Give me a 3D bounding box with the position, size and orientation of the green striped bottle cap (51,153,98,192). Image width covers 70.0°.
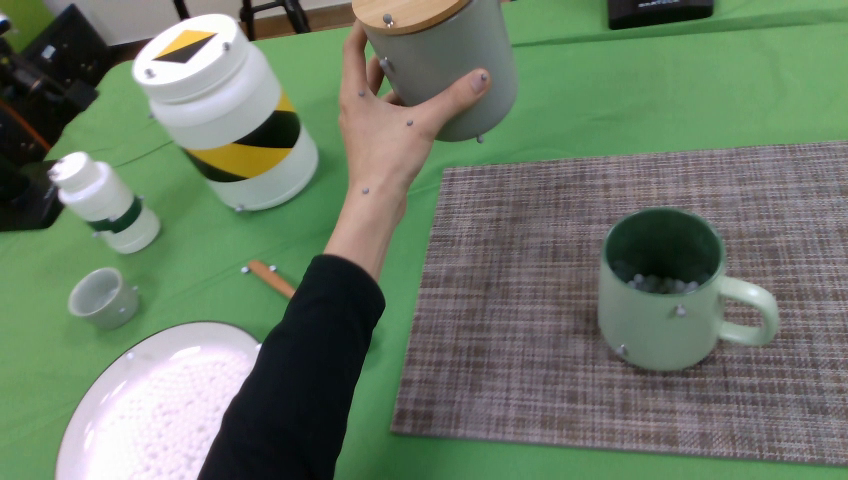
[{"bbox_3d":[-0.377,-0.073,0.655,0.044,0.020,0.044,-7,52,10],"label":"green striped bottle cap"}]

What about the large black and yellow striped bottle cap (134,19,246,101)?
[{"bbox_3d":[-0.236,-0.184,0.611,0.115,0.019,0.114,-9,49,11],"label":"large black and yellow striped bottle cap"}]

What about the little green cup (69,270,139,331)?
[{"bbox_3d":[-0.343,0.067,0.654,0.061,0.039,0.061,-9,49,12],"label":"little green cup"}]

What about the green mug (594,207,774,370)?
[{"bbox_3d":[0.188,0.042,0.445,0.124,0.106,0.092,17,59,29],"label":"green mug"}]

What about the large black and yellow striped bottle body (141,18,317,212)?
[{"bbox_3d":[-0.213,-0.134,0.675,0.130,0.186,0.129,-9,51,12],"label":"large black and yellow striped bottle body"}]

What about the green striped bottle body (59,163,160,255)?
[{"bbox_3d":[-0.364,-0.040,0.693,0.063,0.120,0.062,-10,50,12],"label":"green striped bottle body"}]

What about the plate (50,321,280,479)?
[{"bbox_3d":[-0.219,0.169,0.531,0.209,0.038,0.207,-9,50,11],"label":"plate"}]

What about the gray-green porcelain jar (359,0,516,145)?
[{"bbox_3d":[0.016,-0.149,0.495,0.105,0.128,0.105,-10,55,15],"label":"gray-green porcelain jar"}]

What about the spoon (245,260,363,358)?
[{"bbox_3d":[-0.124,0.059,0.597,0.192,0.022,0.041,31,81,34],"label":"spoon"}]

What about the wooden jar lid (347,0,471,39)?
[{"bbox_3d":[-0.005,-0.184,0.446,0.108,0.021,0.107,-12,56,19],"label":"wooden jar lid"}]
